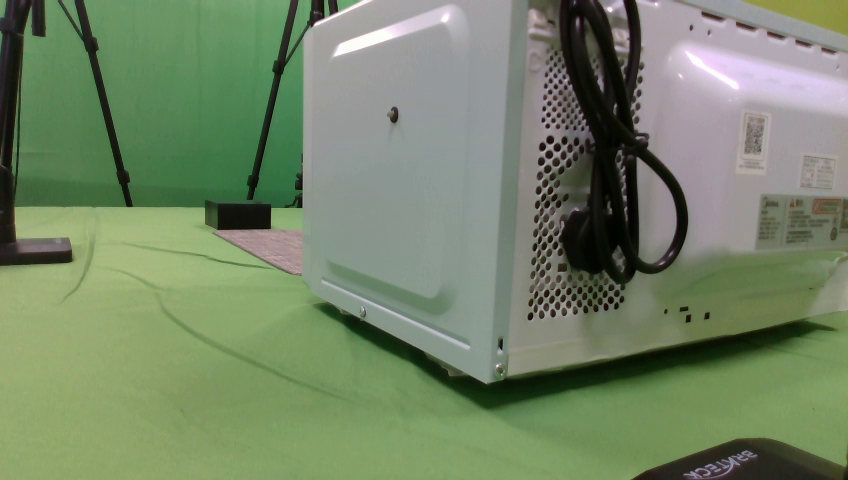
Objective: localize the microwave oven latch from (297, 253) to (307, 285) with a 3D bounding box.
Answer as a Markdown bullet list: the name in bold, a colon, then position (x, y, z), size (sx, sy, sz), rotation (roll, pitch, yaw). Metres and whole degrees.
- **microwave oven latch**: position (-0.082, 0.027, 0.582), size (0.079, 0.029, 0.030), rotation (-1, 7, -32)

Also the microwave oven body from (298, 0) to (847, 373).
- **microwave oven body**: position (0.151, -0.055, 0.543), size (0.444, 0.260, 0.324), rotation (-1, 7, -33)

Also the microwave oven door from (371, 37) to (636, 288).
- **microwave oven door**: position (0.109, -0.080, 0.686), size (0.358, 0.243, 0.039), rotation (-2, 9, -33)
